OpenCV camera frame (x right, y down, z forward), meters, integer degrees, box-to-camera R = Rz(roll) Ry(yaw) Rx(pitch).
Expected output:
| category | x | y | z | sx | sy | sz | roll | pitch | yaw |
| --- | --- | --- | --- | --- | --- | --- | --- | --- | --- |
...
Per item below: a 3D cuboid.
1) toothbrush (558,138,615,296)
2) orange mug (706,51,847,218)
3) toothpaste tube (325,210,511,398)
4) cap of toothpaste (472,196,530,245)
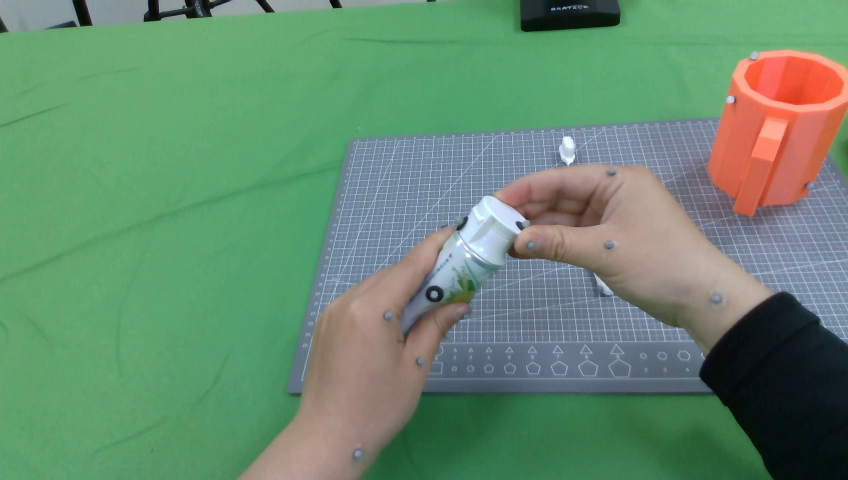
| category | x | y | z | sx | sy | sz | roll | pitch | yaw |
| --- | --- | --- | --- | --- | --- | --- | --- | --- | --- |
| toothbrush | 0.138 | -0.027 | 0.517 | 0.014 | 0.017 | 0.180 | 2 | 48 | -5 |
| orange mug | 0.279 | -0.080 | 0.488 | 0.083 | 0.102 | 0.126 | 21 | 49 | 26 |
| toothpaste tube | -0.001 | 0.046 | 0.377 | 0.055 | 0.165 | 0.034 | 14 | 33 | -40 |
| cap of toothpaste | 0.044 | -0.010 | 0.345 | 0.037 | 0.011 | 0.037 | 30 | 26 | -16 |
